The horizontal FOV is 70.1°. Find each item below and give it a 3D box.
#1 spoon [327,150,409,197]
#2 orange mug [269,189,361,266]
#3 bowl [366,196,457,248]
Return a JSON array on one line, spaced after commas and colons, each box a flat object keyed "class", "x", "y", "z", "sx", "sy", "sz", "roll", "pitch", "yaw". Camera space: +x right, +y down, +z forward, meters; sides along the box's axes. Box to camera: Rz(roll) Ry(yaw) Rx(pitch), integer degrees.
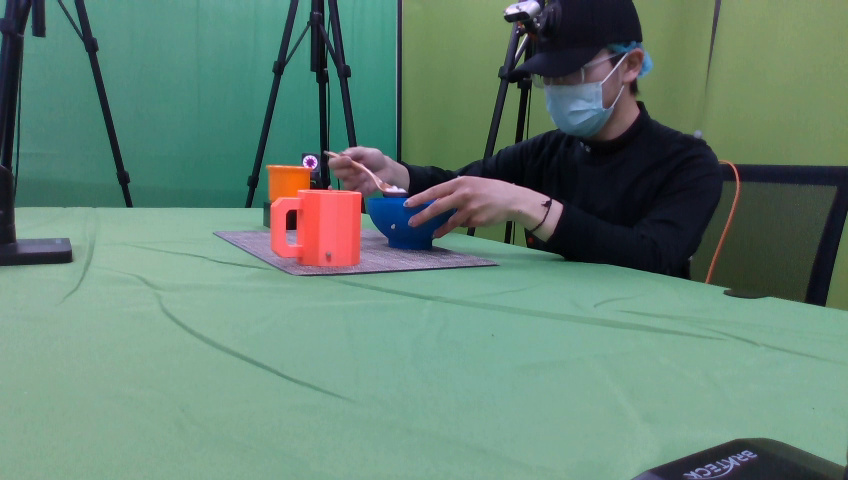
[{"class": "spoon", "x": -0.098, "y": -0.115, "z": 1.014, "sx": 0.193, "sy": 0.021, "sz": 0.042, "roll": 35, "pitch": 34, "yaw": 32}, {"class": "orange mug", "x": -0.142, "y": -0.019, "z": 0.796, "sx": 0.127, "sy": 0.100, "sz": 0.083, "roll": 2, "pitch": 6, "yaw": -39}, {"class": "bowl", "x": -0.022, "y": -0.030, "z": 1.001, "sx": 0.151, "sy": 0.077, "sz": 0.151, "roll": 2, "pitch": 7, "yaw": 0}]
